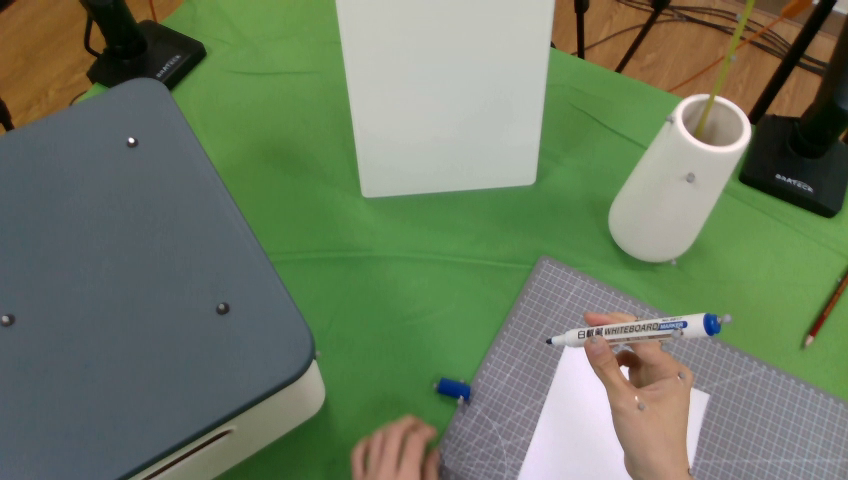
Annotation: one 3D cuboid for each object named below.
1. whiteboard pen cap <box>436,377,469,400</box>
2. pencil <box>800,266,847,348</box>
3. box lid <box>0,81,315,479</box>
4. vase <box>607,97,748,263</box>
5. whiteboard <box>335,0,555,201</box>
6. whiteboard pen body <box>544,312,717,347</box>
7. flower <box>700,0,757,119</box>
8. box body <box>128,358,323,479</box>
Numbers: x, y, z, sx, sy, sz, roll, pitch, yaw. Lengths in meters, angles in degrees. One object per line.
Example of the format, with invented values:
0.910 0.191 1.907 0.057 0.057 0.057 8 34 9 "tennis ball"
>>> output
0.029 0.153 0.619 0.033 0.018 0.018 15 61 13 "whiteboard pen cap"
0.470 0.053 0.685 0.012 0.012 0.194 38 68 19 "pencil"
-0.286 0.022 0.520 0.263 0.015 0.368 -29 65 -16 "box lid"
0.260 -0.057 0.636 0.098 0.201 0.097 0 59 0 "vase"
0.020 -0.216 0.696 0.217 0.308 0.142 -4 42 -2 "whiteboard"
0.145 0.069 0.450 0.017 0.140 0.017 13 70 -39 "whiteboard pen body"
0.261 -0.111 0.571 0.044 0.365 0.038 20 45 15 "flower"
-0.285 0.060 0.584 0.254 0.161 0.361 -30 65 -16 "box body"
